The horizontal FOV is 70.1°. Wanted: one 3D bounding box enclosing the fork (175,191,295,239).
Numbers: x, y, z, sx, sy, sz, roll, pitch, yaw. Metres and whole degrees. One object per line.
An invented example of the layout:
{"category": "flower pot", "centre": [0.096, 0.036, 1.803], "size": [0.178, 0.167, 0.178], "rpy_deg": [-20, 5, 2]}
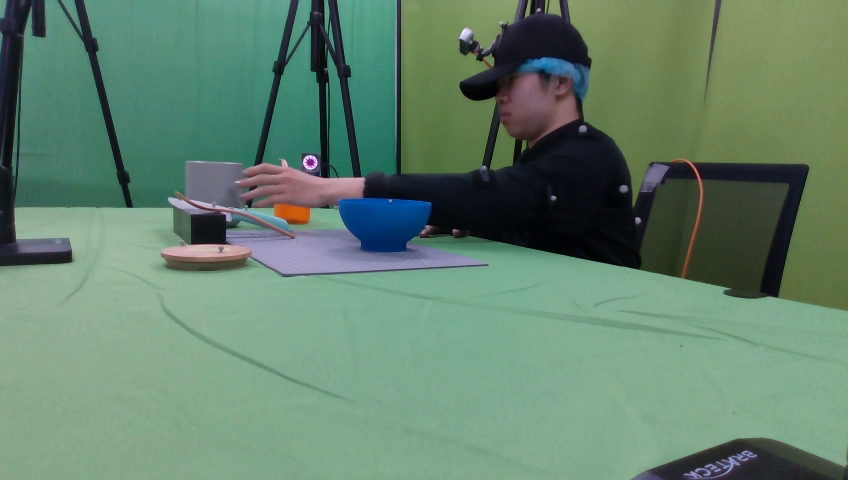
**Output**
{"category": "fork", "centre": [-0.305, -0.039, 0.993], "size": [0.208, 0.018, 0.028], "rpy_deg": [19, -9, -34]}

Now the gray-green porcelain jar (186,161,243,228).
{"category": "gray-green porcelain jar", "centre": [-0.412, -0.090, 1.193], "size": [0.106, 0.126, 0.106], "rpy_deg": [2, 7, 0]}

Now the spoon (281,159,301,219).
{"category": "spoon", "centre": [-0.307, -0.117, 1.368], "size": [0.042, 0.193, 0.021], "rpy_deg": [1, -37, -22]}

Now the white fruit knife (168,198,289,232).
{"category": "white fruit knife", "centre": [-0.329, -0.044, 1.036], "size": [0.208, 0.027, 0.016], "rpy_deg": [14, 0, -32]}

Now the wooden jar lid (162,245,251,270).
{"category": "wooden jar lid", "centre": [-0.278, 0.022, 0.777], "size": [0.108, 0.020, 0.108], "rpy_deg": [2, 6, 0]}

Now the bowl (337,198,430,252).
{"category": "bowl", "centre": [-0.066, -0.024, 0.967], "size": [0.151, 0.077, 0.151], "rpy_deg": [3, 7, 0]}
